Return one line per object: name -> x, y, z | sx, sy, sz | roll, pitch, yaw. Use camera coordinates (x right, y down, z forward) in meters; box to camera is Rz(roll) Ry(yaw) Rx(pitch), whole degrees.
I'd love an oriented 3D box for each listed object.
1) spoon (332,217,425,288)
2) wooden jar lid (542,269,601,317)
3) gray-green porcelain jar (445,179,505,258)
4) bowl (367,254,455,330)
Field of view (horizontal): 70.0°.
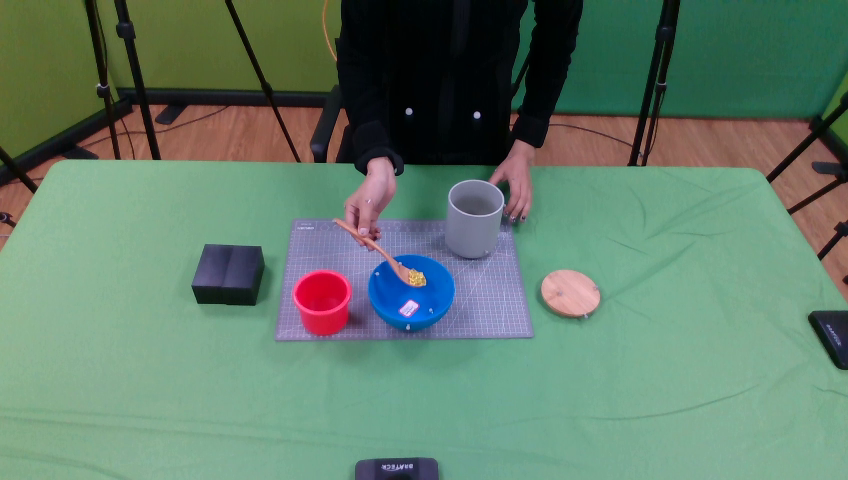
spoon -> -0.077, 0.020, 1.039 | 0.194, 0.021, 0.041 | 41, 32, -6
wooden jar lid -> 0.272, 0.100, 1.121 | 0.108, 0.021, 0.107 | 3, 47, -3
gray-green porcelain jar -> 0.095, -0.037, 1.162 | 0.106, 0.127, 0.105 | 2, 46, -2
bowl -> -0.023, 0.104, 1.053 | 0.151, 0.077, 0.150 | 2, 46, -2
